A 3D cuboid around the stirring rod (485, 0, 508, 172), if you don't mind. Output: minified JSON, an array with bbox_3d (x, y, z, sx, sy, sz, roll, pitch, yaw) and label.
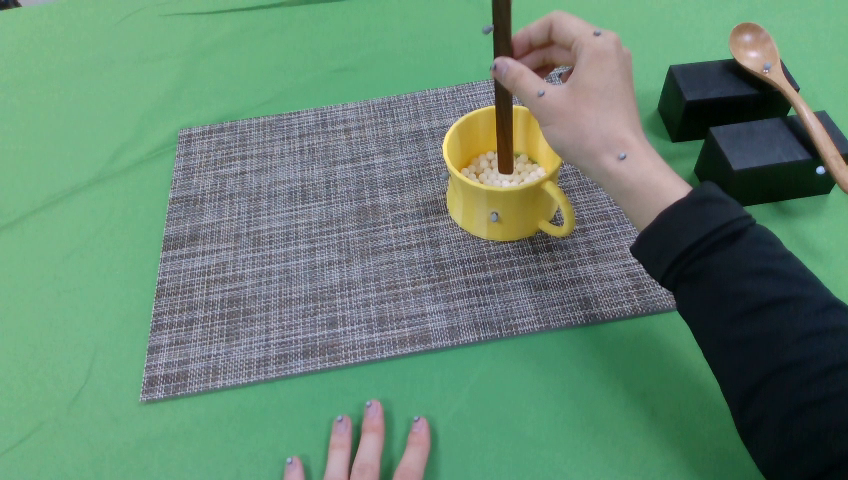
[{"bbox_3d":[0.055,-0.122,0.457,0.014,0.178,0.006,9,47,18],"label":"stirring rod"}]

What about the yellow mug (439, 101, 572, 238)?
[{"bbox_3d":[0.074,-0.051,0.505,0.100,0.064,0.129,-36,59,-20],"label":"yellow mug"}]

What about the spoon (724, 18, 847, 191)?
[{"bbox_3d":[0.302,-0.118,0.504,0.041,0.022,0.191,-9,55,-2],"label":"spoon"}]
